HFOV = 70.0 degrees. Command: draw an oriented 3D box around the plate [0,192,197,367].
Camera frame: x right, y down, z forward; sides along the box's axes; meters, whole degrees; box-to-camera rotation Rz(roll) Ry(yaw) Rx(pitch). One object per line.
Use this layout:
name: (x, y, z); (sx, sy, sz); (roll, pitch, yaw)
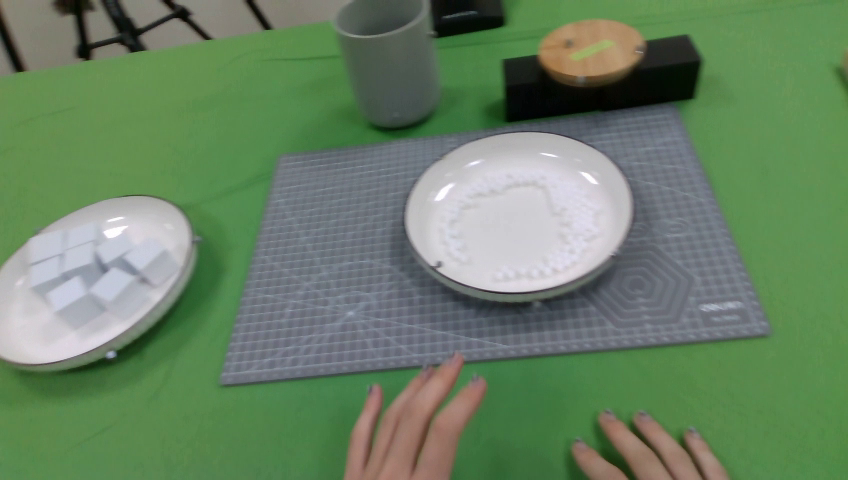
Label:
plate: (-0.323, 0.038, 0.600); (0.207, 0.039, 0.205); (-6, 49, 7)

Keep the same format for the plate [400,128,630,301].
plate: (0.083, -0.025, 0.566); (0.209, 0.038, 0.207); (-6, 49, 7)

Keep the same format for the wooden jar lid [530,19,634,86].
wooden jar lid: (0.169, -0.201, 0.651); (0.108, 0.021, 0.107); (-5, 50, 7)

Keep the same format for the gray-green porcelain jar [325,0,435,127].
gray-green porcelain jar: (-0.045, -0.203, 0.693); (0.106, 0.128, 0.105); (-6, 48, 7)

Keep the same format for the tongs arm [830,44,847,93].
tongs arm: (0.440, -0.060, 0.533); (0.028, 0.028, 0.383); (-2, 49, 7)
